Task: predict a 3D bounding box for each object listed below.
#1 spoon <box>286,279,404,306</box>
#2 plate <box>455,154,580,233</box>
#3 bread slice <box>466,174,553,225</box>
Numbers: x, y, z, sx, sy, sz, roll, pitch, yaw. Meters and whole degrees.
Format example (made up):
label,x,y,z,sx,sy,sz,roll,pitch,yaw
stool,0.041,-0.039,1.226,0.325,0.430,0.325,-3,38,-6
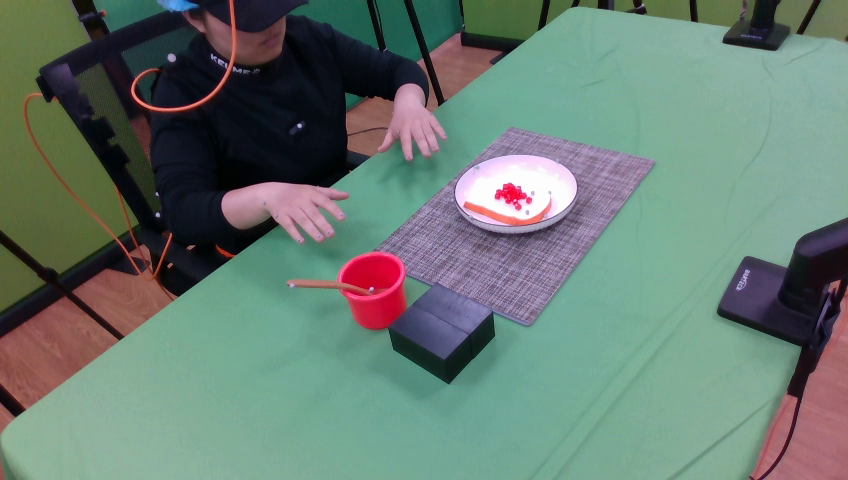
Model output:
label,x,y,z,sx,sy,sz,roll,pitch,yaw
spoon,-0.104,0.068,0.832,0.195,0.021,0.041,17,21,-43
plate,0.158,-0.076,1.028,0.209,0.038,0.208,-5,40,5
bread slice,0.152,-0.067,1.022,0.130,0.019,0.105,23,50,33
